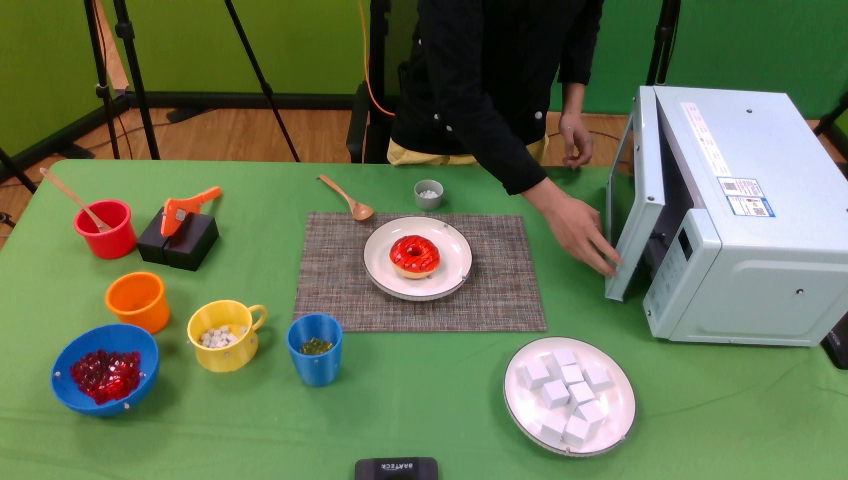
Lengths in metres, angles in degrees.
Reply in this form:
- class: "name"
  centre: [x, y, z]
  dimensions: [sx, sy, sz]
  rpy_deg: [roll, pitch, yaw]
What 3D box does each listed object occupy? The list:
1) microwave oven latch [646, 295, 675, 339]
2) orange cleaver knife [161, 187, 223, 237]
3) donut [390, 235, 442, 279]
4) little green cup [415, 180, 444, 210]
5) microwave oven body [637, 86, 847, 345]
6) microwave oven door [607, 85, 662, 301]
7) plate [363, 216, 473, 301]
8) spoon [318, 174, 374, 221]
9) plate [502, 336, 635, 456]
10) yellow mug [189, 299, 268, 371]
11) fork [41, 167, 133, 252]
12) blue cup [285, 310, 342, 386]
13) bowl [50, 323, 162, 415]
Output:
- class: "microwave oven latch"
  centre: [0.412, 0.134, 1.061]
  dimensions: [0.030, 0.029, 0.078]
  rpy_deg: [4, 45, 1]
- class: "orange cleaver knife"
  centre: [-0.448, -0.058, 1.181]
  dimensions: [0.012, 0.077, 0.211]
  rpy_deg: [13, 17, 6]
- class: "donut"
  centre: [-0.016, 0.031, 1.135]
  dimensions: [0.099, 0.048, 0.098]
  rpy_deg: [4, 44, -3]
- class: "little green cup"
  centre: [0.011, -0.094, 1.278]
  dimensions: [0.061, 0.039, 0.061]
  rpy_deg: [2, 48, -2]
- class: "microwave oven body"
  centre: [0.568, -0.053, 1.118]
  dimensions: [0.326, 0.261, 0.439]
  rpy_deg: [2, 45, -1]
- class: "microwave oven door"
  centre: [0.391, -0.098, 1.142]
  dimensions: [0.039, 0.245, 0.354]
  rpy_deg: [10, 46, 7]
- class: "plate"
  centre: [-0.012, 0.038, 1.144]
  dimensions: [0.209, 0.038, 0.208]
  rpy_deg: [2, 46, -2]
- class: "spoon"
  centre: [-0.168, -0.094, 1.274]
  dimensions: [0.041, 0.022, 0.192]
  rpy_deg: [-39, 57, -14]
- class: "plate"
  centre: [0.225, 0.248, 0.963]
  dimensions: [0.208, 0.039, 0.206]
  rpy_deg: [2, 46, -2]
- class: "yellow mug"
  centre: [-0.316, 0.148, 1.002]
  dimensions: [0.131, 0.064, 0.099]
  rpy_deg: [-32, 56, -31]
- class: "fork"
  centre: [-0.624, -0.055, 1.121]
  dimensions: [0.208, 0.018, 0.028]
  rpy_deg: [50, 51, -15]
- class: "blue cup"
  centre: [-0.169, 0.179, 0.958]
  dimensions: [0.093, 0.101, 0.092]
  rpy_deg: [1, 44, -1]
- class: "bowl"
  centre: [-0.472, 0.209, 0.924]
  dimensions: [0.151, 0.077, 0.150]
  rpy_deg: [2, 45, -2]
